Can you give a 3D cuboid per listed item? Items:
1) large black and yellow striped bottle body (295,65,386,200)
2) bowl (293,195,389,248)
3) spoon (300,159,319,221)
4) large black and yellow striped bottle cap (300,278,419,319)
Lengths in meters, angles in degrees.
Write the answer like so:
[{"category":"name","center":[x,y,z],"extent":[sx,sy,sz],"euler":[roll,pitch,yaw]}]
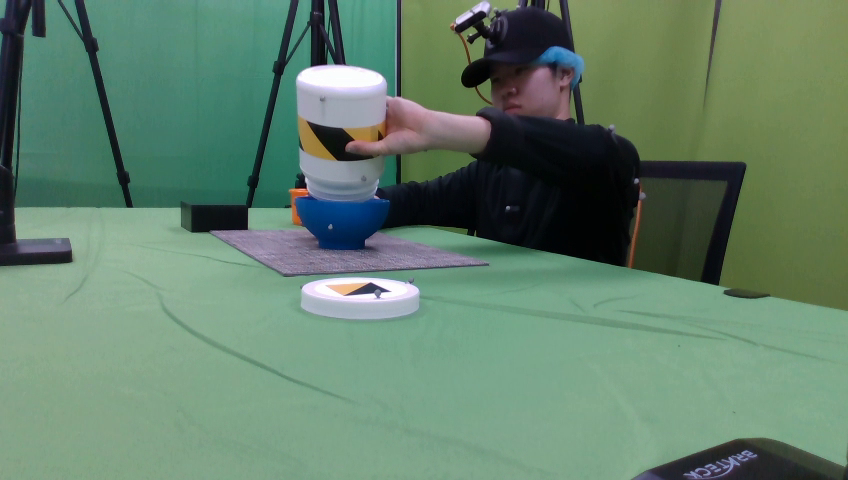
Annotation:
[{"category":"large black and yellow striped bottle body","center":[-0.126,-0.160,0.919],"extent":[0.131,0.184,0.130],"euler":[4,29,-2]},{"category":"bowl","center":[-0.132,-0.030,0.962],"extent":[0.151,0.077,0.151],"euler":[1,7,0]},{"category":"spoon","center":[-0.257,-0.113,1.341],"extent":[0.042,0.193,0.021],"euler":[3,-38,-18]},{"category":"large black and yellow striped bottle cap","center":[-0.062,0.055,0.588],"extent":[0.115,0.019,0.115],"euler":[1,6,0]}]
